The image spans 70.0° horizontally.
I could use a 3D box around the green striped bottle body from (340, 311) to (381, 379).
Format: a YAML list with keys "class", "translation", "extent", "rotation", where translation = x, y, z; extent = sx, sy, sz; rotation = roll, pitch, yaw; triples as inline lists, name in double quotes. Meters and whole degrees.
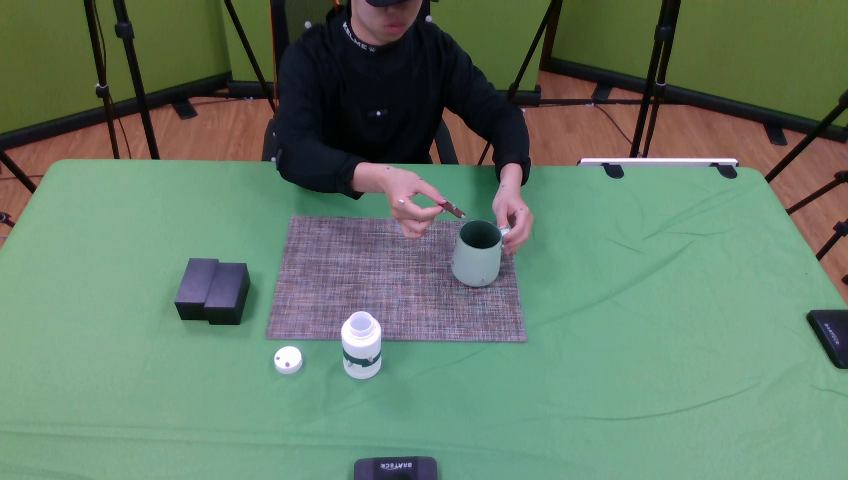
- class: "green striped bottle body"
  translation: [-0.101, 0.164, 0.964]
  extent: [0.063, 0.120, 0.063]
  rotation: [2, 46, -2]

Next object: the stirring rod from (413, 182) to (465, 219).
- class: "stirring rod"
  translation: [0.023, -0.069, 1.035]
  extent: [0.014, 0.006, 0.175]
  rotation: [-24, 31, -17]

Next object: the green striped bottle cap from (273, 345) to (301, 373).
- class: "green striped bottle cap"
  translation: [-0.225, 0.195, 0.997]
  extent: [0.044, 0.020, 0.044]
  rotation: [2, 50, -3]

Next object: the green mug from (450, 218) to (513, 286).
- class: "green mug"
  translation: [0.111, 0.018, 1.125]
  extent: [0.125, 0.105, 0.092]
  rotation: [-22, 51, -23]
